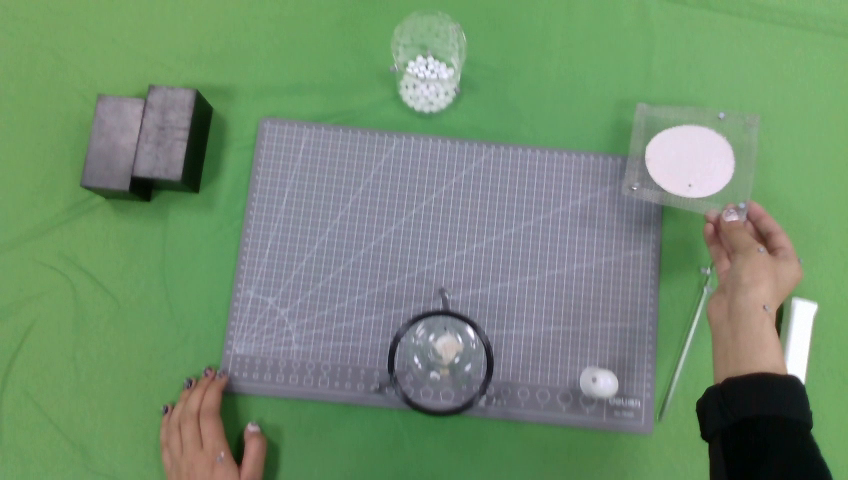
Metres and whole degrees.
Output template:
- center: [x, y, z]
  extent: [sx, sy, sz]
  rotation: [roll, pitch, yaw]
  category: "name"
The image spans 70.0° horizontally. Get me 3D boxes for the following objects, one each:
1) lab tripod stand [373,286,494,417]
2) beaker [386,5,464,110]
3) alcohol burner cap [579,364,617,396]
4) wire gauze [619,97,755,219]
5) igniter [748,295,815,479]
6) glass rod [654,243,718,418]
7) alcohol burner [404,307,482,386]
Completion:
- center: [0.012, 0.109, 0.570]
  extent: [0.148, 0.132, 0.148]
  rotation: [0, 79, 1]
  category: "lab tripod stand"
- center: [0.004, -0.184, 0.637]
  extent: [0.074, 0.100, 0.084]
  rotation: [-38, 84, -6]
  category: "beaker"
- center: [0.179, 0.144, 0.615]
  extent: [0.034, 0.048, 0.033]
  rotation: [0, 80, 2]
  category: "alcohol burner cap"
- center: [0.269, -0.089, 0.621]
  extent: [0.124, 0.011, 0.121]
  rotation: [13, 71, 12]
  category: "wire gauze"
- center: [0.364, 0.193, 0.620]
  extent: [0.057, 0.025, 0.275]
  rotation: [16, 81, -10]
  category: "igniter"
- center: [0.280, 0.094, 0.645]
  extent: [0.008, 0.008, 0.199]
  rotation: [23, 82, 2]
  category: "glass rod"
- center: [0.019, 0.101, 0.582]
  extent: [0.078, 0.119, 0.077]
  rotation: [0, 79, -1]
  category: "alcohol burner"
